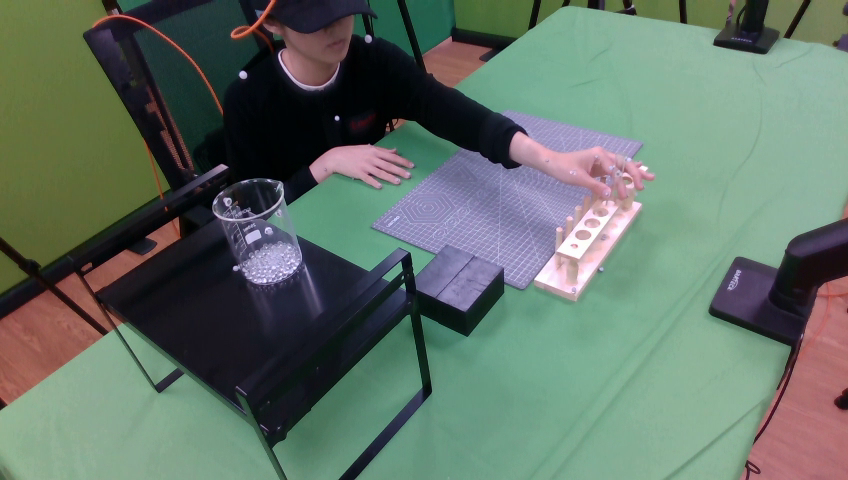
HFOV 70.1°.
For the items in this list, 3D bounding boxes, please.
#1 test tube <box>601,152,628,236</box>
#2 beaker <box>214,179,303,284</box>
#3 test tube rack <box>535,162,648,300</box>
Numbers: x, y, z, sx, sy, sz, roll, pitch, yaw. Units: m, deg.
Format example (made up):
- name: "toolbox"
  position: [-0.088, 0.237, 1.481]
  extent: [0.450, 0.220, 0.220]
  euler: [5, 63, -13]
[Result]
- name: "test tube"
  position: [0.277, -0.064, 0.883]
  extent: [0.017, 0.151, 0.017]
  euler: [-2, 43, 2]
- name: "beaker"
  position: [-0.178, -0.008, 0.675]
  extent: [0.073, 0.101, 0.084]
  euler: [22, 48, 30]
- name: "test tube rack"
  position: [0.257, -0.024, 0.916]
  extent: [0.066, 0.085, 0.243]
  euler: [22, 49, 30]
